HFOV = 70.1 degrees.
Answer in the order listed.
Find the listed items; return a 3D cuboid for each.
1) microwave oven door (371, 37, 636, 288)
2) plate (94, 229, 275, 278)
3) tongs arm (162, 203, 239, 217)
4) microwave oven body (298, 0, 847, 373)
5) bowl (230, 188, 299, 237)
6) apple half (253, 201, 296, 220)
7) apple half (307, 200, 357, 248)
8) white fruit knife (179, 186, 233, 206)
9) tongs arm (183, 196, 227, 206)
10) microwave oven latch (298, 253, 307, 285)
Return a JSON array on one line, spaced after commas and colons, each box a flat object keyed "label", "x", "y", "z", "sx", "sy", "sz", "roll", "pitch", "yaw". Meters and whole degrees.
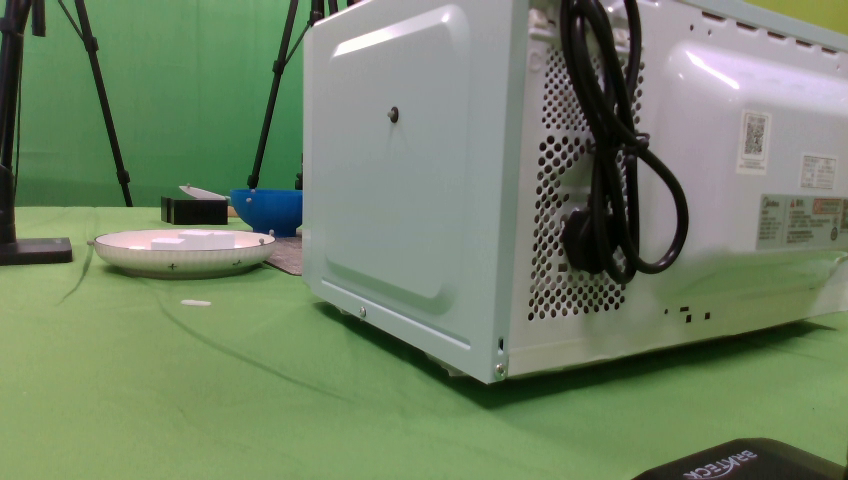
[{"label": "microwave oven door", "x": 0.109, "y": -0.080, "z": 0.686, "sx": 0.358, "sy": 0.243, "sz": 0.039, "roll": -2, "pitch": 9, "yaw": -33}, {"label": "plate", "x": -0.291, "y": 0.016, "z": 0.750, "sx": 0.208, "sy": 0.039, "sz": 0.207, "roll": 2, "pitch": 7, "yaw": 0}, {"label": "tongs arm", "x": -0.396, "y": -0.066, "z": 1.399, "sx": 0.389, "sy": 0.028, "sz": 0.028, "roll": 1, "pitch": 5, "yaw": -15}, {"label": "microwave oven body", "x": 0.151, "y": -0.055, "z": 0.542, "sx": 0.444, "sy": 0.260, "sz": 0.324, "roll": -2, "pitch": 7, "yaw": -33}, {"label": "bowl", "x": -0.264, "y": -0.048, "z": 1.065, "sx": 0.151, "sy": 0.077, "sz": 0.151, "roll": 3, "pitch": 8, "yaw": 0}, {"label": "apple half", "x": -0.264, "y": -0.053, "z": 1.067, "sx": 0.081, "sy": 0.033, "sz": 0.081, "roll": 1, "pitch": 8, "yaw": 0}, {"label": "apple half", "x": -0.135, "y": -0.024, "z": 0.941, "sx": 0.053, "sy": 0.074, "sz": 0.081, "roll": 13, "pitch": 8, "yaw": 39}, {"label": "white fruit knife", "x": -0.413, "y": -0.081, "z": 1.270, "sx": 0.208, "sy": 0.027, "sz": 0.016, "roll": 17, "pitch": 14, "yaw": -41}, {"label": "tongs arm", "x": -0.404, "y": -0.081, "z": 1.479, "sx": 0.385, "sy": 0.026, "sz": 0.050, "roll": 3, "pitch": 8, "yaw": -2}, {"label": "microwave oven latch", "x": -0.081, "y": 0.027, "z": 0.582, "sx": 0.079, "sy": 0.029, "sz": 0.030, "roll": -2, "pitch": 8, "yaw": -33}]
